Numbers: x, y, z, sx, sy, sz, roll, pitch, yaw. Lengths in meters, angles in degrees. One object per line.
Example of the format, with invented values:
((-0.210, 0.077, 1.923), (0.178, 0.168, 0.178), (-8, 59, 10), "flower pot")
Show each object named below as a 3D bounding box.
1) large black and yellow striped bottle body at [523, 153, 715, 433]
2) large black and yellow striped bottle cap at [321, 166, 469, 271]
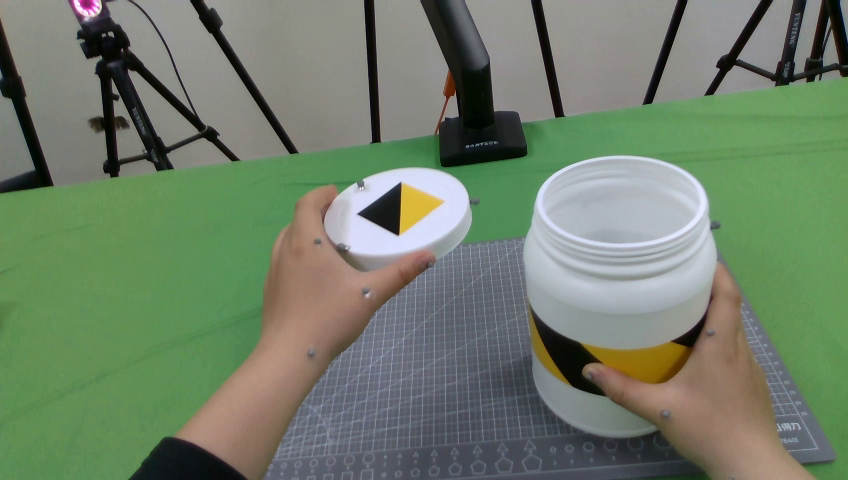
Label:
((0.142, 0.041, 0.457), (0.130, 0.186, 0.129), (-7, 38, 6), "large black and yellow striped bottle body")
((-0.022, -0.021, 0.470), (0.115, 0.019, 0.114), (-6, 40, 5), "large black and yellow striped bottle cap")
